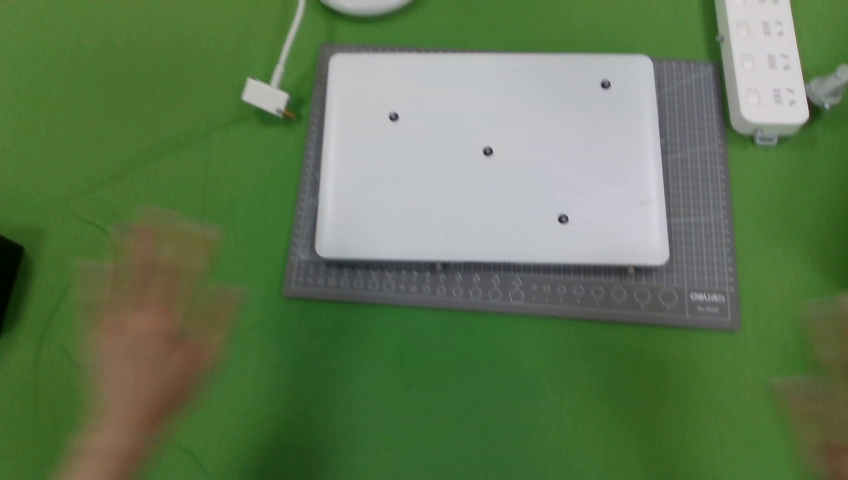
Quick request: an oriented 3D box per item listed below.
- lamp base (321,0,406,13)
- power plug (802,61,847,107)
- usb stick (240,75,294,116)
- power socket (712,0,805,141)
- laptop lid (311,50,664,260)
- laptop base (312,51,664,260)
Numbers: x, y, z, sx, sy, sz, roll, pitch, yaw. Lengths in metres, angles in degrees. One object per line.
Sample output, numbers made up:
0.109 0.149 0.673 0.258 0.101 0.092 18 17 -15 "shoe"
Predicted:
-0.080 -0.374 0.655 0.160 0.181 0.178 -34 71 -9 "lamp base"
0.433 -0.163 0.641 0.073 0.053 0.035 -12 67 -18 "power plug"
-0.168 -0.156 0.662 0.059 0.021 0.027 25 102 -14 "usb stick"
0.363 -0.216 0.665 0.072 0.033 0.225 3 72 2 "power socket"
0.064 -0.094 0.630 0.356 0.013 0.240 2 74 3 "laptop lid"
0.065 -0.093 0.642 0.354 0.023 0.234 1 75 2 "laptop base"
